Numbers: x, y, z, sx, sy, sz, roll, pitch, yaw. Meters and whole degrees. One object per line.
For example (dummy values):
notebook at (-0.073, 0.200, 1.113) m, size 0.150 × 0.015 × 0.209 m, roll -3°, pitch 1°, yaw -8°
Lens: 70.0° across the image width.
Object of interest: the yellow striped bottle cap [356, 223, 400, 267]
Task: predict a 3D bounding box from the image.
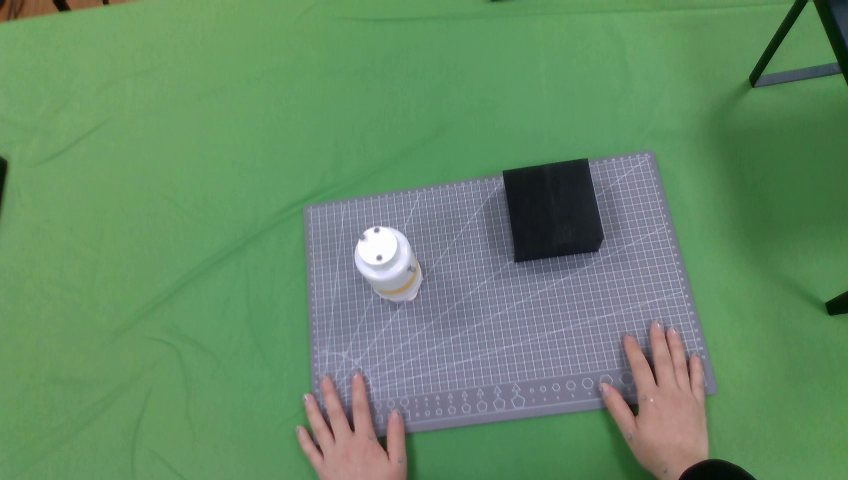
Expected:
yellow striped bottle cap at (-0.049, 0.005, 0.639) m, size 0.044 × 0.019 × 0.044 m, roll -3°, pitch 71°, yaw 9°

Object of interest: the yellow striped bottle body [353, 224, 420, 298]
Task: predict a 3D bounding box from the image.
yellow striped bottle body at (-0.042, 0.022, 0.687) m, size 0.063 × 0.121 × 0.062 m, roll -2°, pitch 71°, yaw 7°
